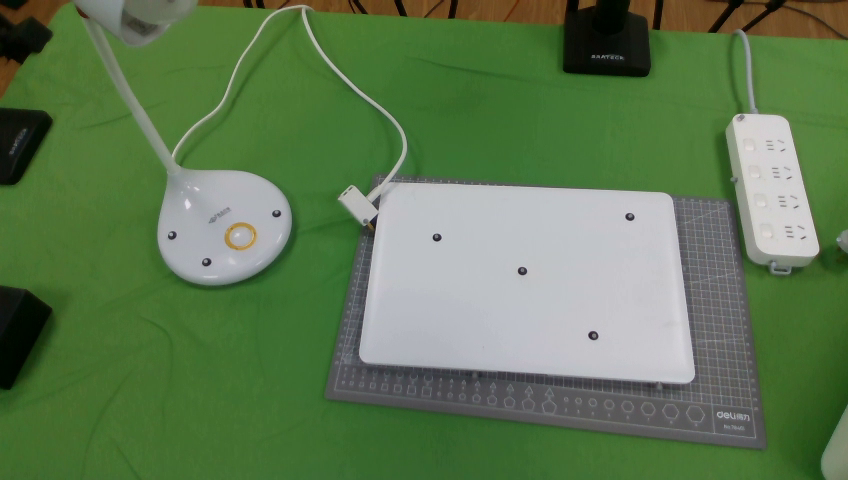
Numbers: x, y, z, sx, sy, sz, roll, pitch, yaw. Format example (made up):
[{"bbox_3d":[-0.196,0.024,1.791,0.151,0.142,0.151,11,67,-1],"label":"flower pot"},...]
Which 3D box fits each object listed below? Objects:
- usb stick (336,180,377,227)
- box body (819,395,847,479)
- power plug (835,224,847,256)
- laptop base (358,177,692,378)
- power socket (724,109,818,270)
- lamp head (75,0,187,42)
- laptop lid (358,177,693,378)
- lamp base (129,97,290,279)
[{"bbox_3d":[-0.077,-0.042,0.729,0.027,0.059,0.021,-42,22,-10],"label":"usb stick"},{"bbox_3d":[0.566,0.133,0.537,0.252,0.162,0.363,36,68,20],"label":"box body"},{"bbox_3d":[0.502,-0.007,0.690,0.073,0.053,0.035,-14,56,-24],"label":"power plug"},{"bbox_3d":[0.113,0.036,0.697,0.354,0.023,0.233,3,64,4],"label":"laptop base"},{"bbox_3d":[0.417,-0.071,0.735,0.072,0.033,0.225,5,61,4],"label":"power socket"},{"bbox_3d":[-0.222,-0.214,0.412,0.123,0.112,0.112,32,64,-6],"label":"lamp head"},{"bbox_3d":[0.112,0.032,0.686,0.356,0.013,0.240,4,63,5],"label":"laptop lid"},{"bbox_3d":[-0.258,-0.069,0.681,0.178,0.182,0.160,30,65,21],"label":"lamp base"}]
